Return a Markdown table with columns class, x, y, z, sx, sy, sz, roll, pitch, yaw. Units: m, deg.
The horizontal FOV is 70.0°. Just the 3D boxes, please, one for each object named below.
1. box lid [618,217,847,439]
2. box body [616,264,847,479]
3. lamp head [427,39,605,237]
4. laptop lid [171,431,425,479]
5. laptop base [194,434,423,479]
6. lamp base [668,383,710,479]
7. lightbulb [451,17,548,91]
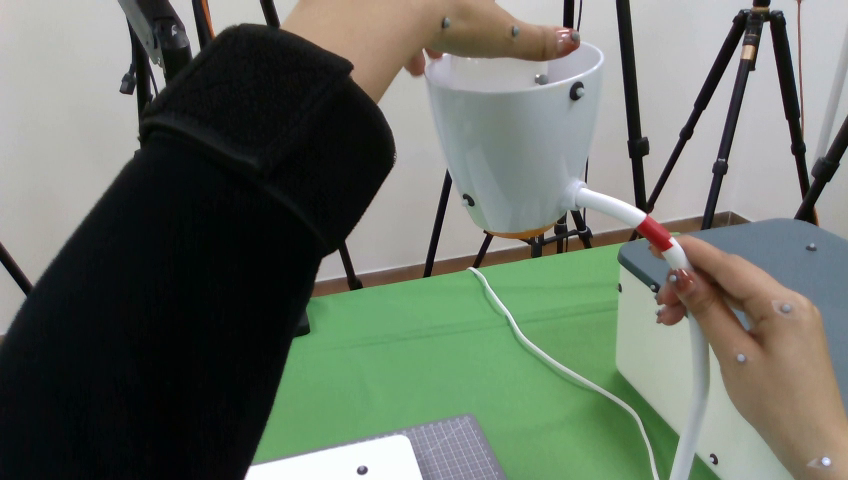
| class | x | y | z | sx | sy | sz | roll | pitch | yaw |
| --- | --- | --- | --- | --- | --- | --- | --- | --- | --- |
| box lid | 0.382 | 0.065 | 0.559 | 0.264 | 0.015 | 0.367 | -8 | 26 | -15 |
| box body | 0.385 | 0.134 | 0.590 | 0.255 | 0.161 | 0.360 | -9 | 26 | -15 |
| lamp head | 0.066 | -0.063 | 0.405 | 0.112 | 0.124 | 0.111 | -10 | 28 | 6 |
| laptop lid | -0.156 | 0.270 | 0.482 | 0.357 | 0.013 | 0.239 | -8 | 28 | -11 |
| laptop base | -0.157 | 0.280 | 0.490 | 0.355 | 0.023 | 0.233 | -8 | 29 | -13 |
| lamp base | 0.173 | 0.204 | 0.435 | 0.160 | 0.181 | 0.179 | 9 | 25 | 20 |
| lightbulb | 0.052 | -0.087 | 0.389 | 0.059 | 0.109 | 0.059 | -10 | 36 | 8 |
